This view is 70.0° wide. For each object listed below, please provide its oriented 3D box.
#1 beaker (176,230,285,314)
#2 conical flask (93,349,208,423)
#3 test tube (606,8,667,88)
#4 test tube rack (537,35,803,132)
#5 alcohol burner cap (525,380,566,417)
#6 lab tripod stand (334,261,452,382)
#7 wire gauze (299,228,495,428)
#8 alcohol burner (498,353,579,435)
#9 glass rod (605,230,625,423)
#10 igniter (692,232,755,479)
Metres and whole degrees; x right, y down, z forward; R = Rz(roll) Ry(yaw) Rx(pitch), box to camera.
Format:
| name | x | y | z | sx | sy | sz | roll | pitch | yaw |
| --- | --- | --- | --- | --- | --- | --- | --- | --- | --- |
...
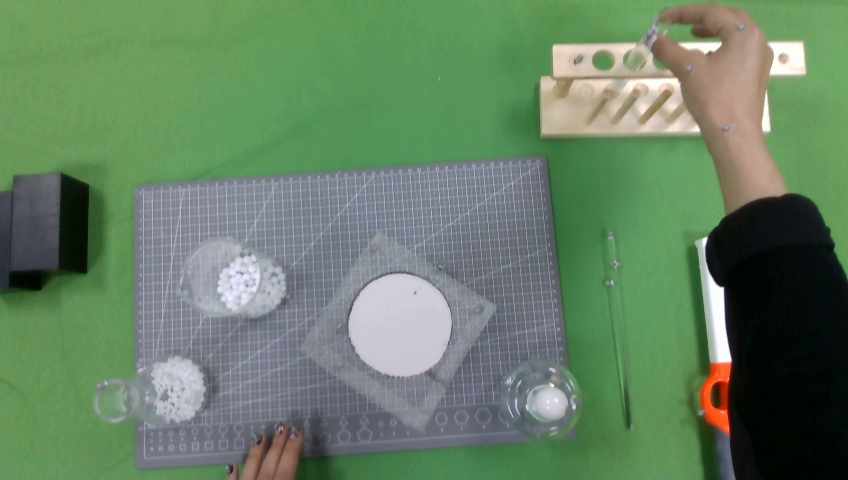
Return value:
| name | x | y | z | sx | sy | sz | roll | pitch | yaw |
| --- | --- | --- | --- | --- | --- | --- | --- | --- | --- |
| beaker | -0.185 | 0.038 | 0.596 | 0.084 | 0.100 | 0.073 | -20 | 81 | -1 |
| conical flask | -0.260 | 0.142 | 0.572 | 0.075 | 0.122 | 0.075 | 0 | 82 | 1 |
| test tube | 0.199 | -0.178 | 0.578 | 0.017 | 0.150 | 0.017 | 0 | 83 | 3 |
| test tube rack | 0.244 | -0.158 | 0.624 | 0.242 | 0.085 | 0.066 | -1 | 81 | 1 |
| alcohol burner cap | 0.109 | 0.139 | 0.533 | 0.034 | 0.048 | 0.033 | 0 | 76 | -1 |
| lab tripod stand | -0.023 | 0.078 | 0.570 | 0.148 | 0.132 | 0.148 | 0 | 83 | 3 |
| wire gauze | -0.023 | 0.071 | 0.504 | 0.125 | 0.011 | 0.121 | 33 | 85 | 6 |
| alcohol burner | 0.109 | 0.146 | 0.568 | 0.078 | 0.119 | 0.077 | -1 | 81 | 4 |
| glass rod | 0.199 | 0.089 | 0.630 | 0.008 | 0.008 | 0.199 | -3 | 84 | 1 |
| igniter | 0.301 | 0.128 | 0.613 | 0.057 | 0.025 | 0.275 | 0 | 82 | -10 |
